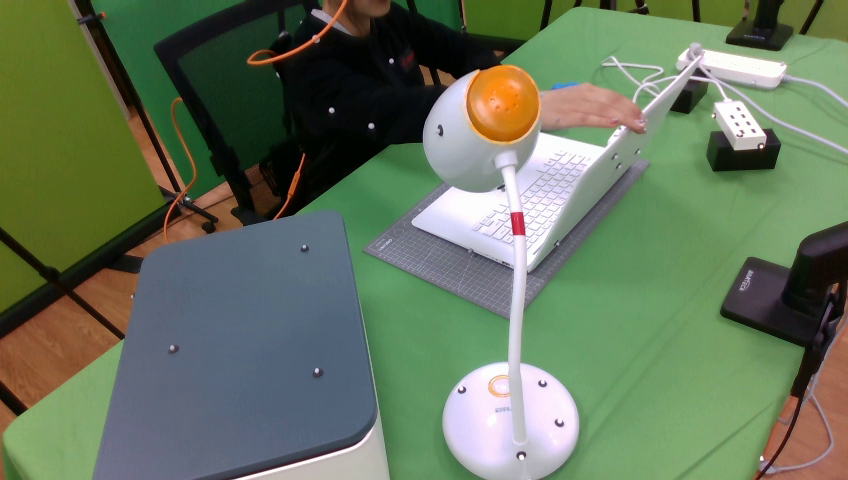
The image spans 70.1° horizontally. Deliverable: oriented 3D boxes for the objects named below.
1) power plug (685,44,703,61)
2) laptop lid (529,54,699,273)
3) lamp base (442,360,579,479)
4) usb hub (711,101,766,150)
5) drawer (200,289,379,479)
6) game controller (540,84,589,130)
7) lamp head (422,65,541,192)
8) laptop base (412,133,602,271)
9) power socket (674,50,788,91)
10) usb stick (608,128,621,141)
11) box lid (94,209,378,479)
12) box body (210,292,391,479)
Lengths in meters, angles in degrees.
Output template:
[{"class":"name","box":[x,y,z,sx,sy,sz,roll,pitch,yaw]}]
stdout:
[{"class":"power plug","box":[0.568,-0.390,1.294,0.073,0.053,0.035,-33,46,-22]},{"class":"laptop lid","box":[0.284,-0.113,0.898,0.013,0.242,0.358,38,55,17]},{"class":"lamp base","box":[0.094,0.158,0.657,0.161,0.181,0.178,-13,42,-5]},{"class":"usb hub","box":[0.537,-0.198,1.038,0.049,0.025,0.124,-4,39,8]},{"class":"drawer","box":[-0.172,0.176,0.760,0.195,0.073,0.210,-13,42,-8]},{"class":"game controller","box":[0.273,-0.282,1.251,0.096,0.052,0.155,26,52,30]},{"class":"lamp head","box":[0.060,-0.106,0.560,0.113,0.112,0.122,-16,0,-8]},{"class":"laptop base","box":[0.175,-0.084,1.055,0.233,0.023,0.355,21,48,36]},{"class":"power socket","box":[0.647,-0.363,1.284,0.225,0.033,0.072,25,52,34]},{"class":"usb stick","box":[0.353,-0.178,1.110,0.021,0.027,0.059,21,56,32]},{"class":"box lid","box":[-0.202,0.094,0.680,0.264,0.015,0.368,-13,39,-5]},{"class":"box body","box":[-0.190,0.161,0.723,0.255,0.161,0.361,-13,40,-5]}]
